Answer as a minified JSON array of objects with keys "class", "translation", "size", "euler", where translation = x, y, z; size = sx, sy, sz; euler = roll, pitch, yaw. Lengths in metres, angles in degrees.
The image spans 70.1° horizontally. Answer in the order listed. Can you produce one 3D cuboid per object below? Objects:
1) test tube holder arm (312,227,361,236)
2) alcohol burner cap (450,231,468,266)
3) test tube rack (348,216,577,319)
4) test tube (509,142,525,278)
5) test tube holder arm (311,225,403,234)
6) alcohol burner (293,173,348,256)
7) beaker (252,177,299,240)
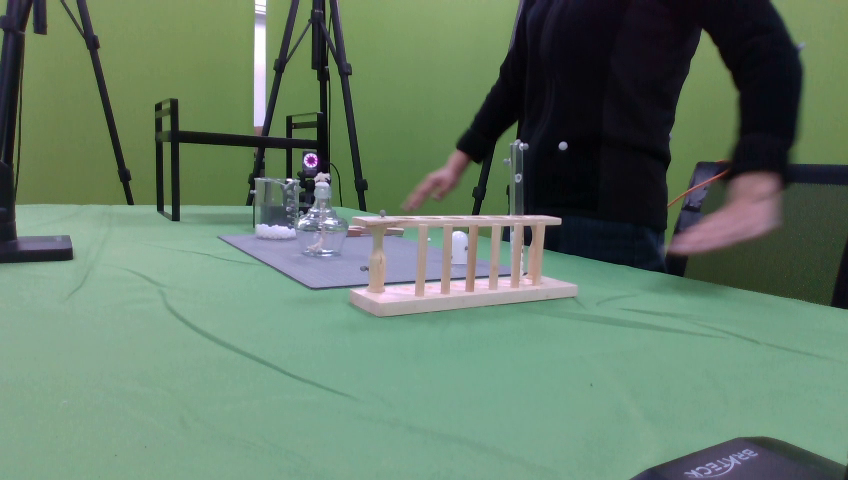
[{"class":"test tube holder arm","translation":[-0.154,-0.015,1.068],"size":[0.088,0.015,0.010],"euler":[0,38,-32]},{"class":"alcohol burner cap","translation":[0.046,0.011,0.838],"size":[0.034,0.048,0.034],"euler":[2,6,0]},{"class":"test tube rack","translation":[0.048,0.021,0.619],"size":[0.244,0.085,0.066],"euler":[-2,9,-31]},{"class":"test tube","translation":[0.102,-0.031,0.663],"size":[0.017,0.150,0.017],"euler":[-2,9,1]},{"class":"test tube holder arm","translation":[-0.118,-0.018,1.097],"size":[0.179,0.015,0.013],"euler":[0,38,-33]},{"class":"alcohol burner","translation":[-0.147,-0.036,0.859],"size":[0.078,0.119,0.078],"euler":[4,9,0]},{"class":"beaker","translation":[-0.245,-0.052,1.005],"size":[0.074,0.100,0.083],"euler":[-2,10,-32]}]
